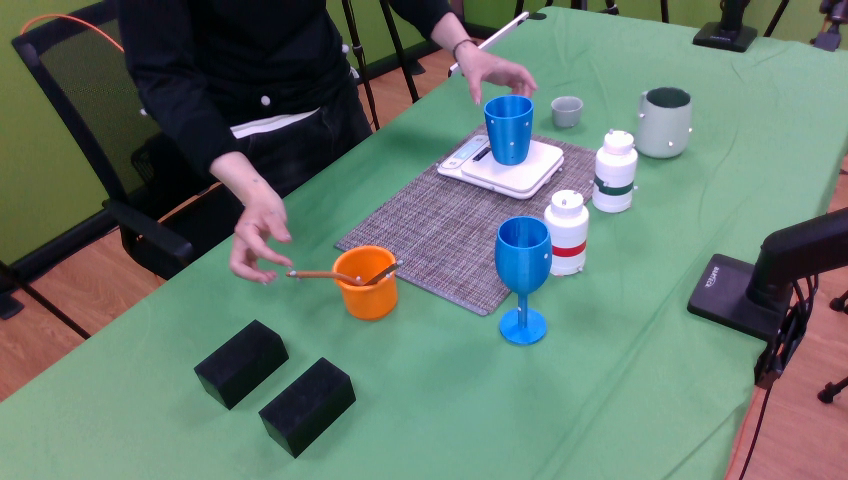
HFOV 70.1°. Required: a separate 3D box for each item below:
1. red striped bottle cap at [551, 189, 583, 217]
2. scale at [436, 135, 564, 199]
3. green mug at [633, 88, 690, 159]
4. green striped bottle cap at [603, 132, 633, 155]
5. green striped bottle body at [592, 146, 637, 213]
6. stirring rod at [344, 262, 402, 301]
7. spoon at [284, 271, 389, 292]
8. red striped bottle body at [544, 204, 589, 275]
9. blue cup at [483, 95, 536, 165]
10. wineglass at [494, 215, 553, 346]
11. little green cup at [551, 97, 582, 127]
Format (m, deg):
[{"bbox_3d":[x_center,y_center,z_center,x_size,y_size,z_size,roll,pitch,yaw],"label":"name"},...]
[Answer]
[{"bbox_3d":[0.200,-0.052,0.843,0.044,0.018,0.044,-2,42,2],"label":"red striped bottle cap"},{"bbox_3d":[0.137,-0.142,1.101,0.199,0.032,0.149,22,48,30],"label":"scale"},{"bbox_3d":[0.423,-0.217,1.099,0.093,0.105,0.124,-16,41,-10],"label":"green mug"},{"bbox_3d":[0.302,-0.149,0.939,0.044,0.020,0.044,-3,40,3],"label":"green striped bottle cap"},{"bbox_3d":[0.307,-0.108,0.976,0.063,0.120,0.063,-4,41,4],"label":"green striped bottle body"},{"bbox_3d":[-0.072,0.057,0.813,0.014,0.175,0.006,-17,79,-33],"label":"stirring rod"},{"bbox_3d":[-0.117,0.054,0.824,0.041,0.195,0.021,0,79,36],"label":"spoon"},{"bbox_3d":[0.206,-0.011,0.877,0.063,0.120,0.062,-5,41,4],"label":"red striped bottle body"},{"bbox_3d":[0.148,-0.188,1.053,0.092,0.100,0.092,-5,39,5],"label":"blue cup"},{"bbox_3d":[0.127,0.055,0.770,0.074,0.173,0.073,-4,40,4],"label":"wineglass"},{"bbox_3d":[0.284,-0.255,1.213,0.061,0.039,0.061,-5,41,5],"label":"little green cup"}]
